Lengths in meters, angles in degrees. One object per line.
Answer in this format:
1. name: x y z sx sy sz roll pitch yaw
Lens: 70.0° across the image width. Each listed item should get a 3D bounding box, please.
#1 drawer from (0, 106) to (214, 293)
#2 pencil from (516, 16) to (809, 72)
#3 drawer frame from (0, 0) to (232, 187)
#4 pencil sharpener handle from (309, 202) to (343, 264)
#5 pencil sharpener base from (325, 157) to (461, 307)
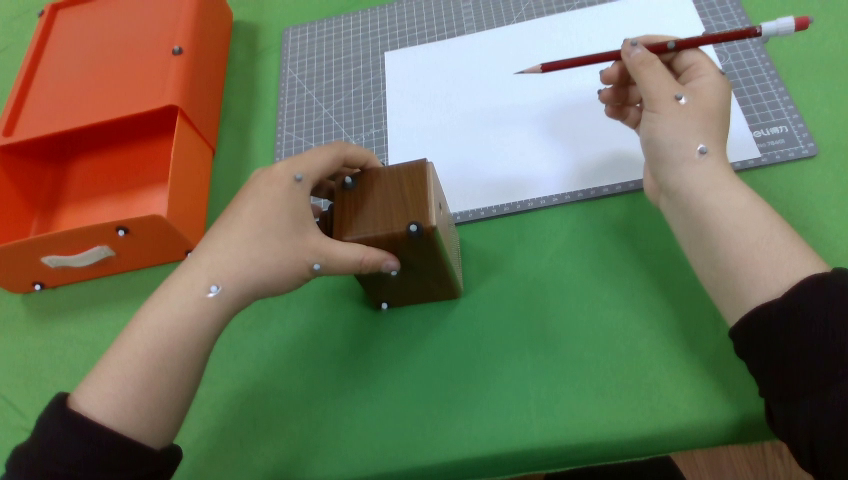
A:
1. drawer: -0.304 -0.069 0.574 0.194 0.074 0.209 -12 57 8
2. pencil: 0.162 -0.136 0.429 0.193 0.012 0.012 -5 59 17
3. drawer frame: -0.316 -0.169 0.633 0.201 0.083 0.211 -11 57 8
4. pencil sharpener handle: -0.072 0.000 0.441 0.030 0.068 0.035 -9 62 10
5. pencil sharpener base: -0.020 -0.001 0.443 0.076 0.108 0.061 -9 58 9
